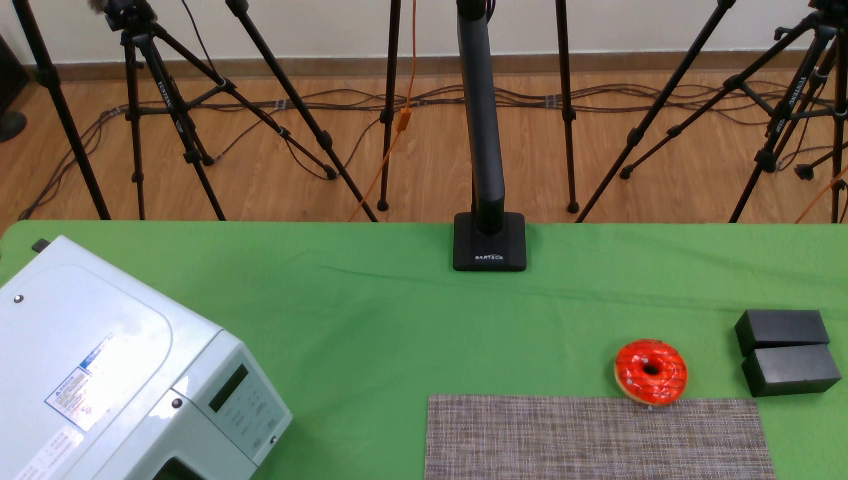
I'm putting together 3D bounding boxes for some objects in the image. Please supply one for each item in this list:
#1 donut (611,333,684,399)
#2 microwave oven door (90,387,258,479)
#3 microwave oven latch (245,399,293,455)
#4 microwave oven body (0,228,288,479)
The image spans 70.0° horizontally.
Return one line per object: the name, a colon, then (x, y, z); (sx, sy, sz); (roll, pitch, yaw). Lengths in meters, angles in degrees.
donut: (0.311, 0.176, 0.845); (0.099, 0.049, 0.098); (-4, 51, 6)
microwave oven door: (-0.332, 0.345, 0.630); (0.039, 0.246, 0.354); (24, 60, 20)
microwave oven latch: (-0.211, 0.247, 0.816); (0.030, 0.030, 0.079); (26, 61, 20)
microwave oven body: (-0.435, 0.261, 0.703); (0.324, 0.262, 0.440); (25, 61, 19)
